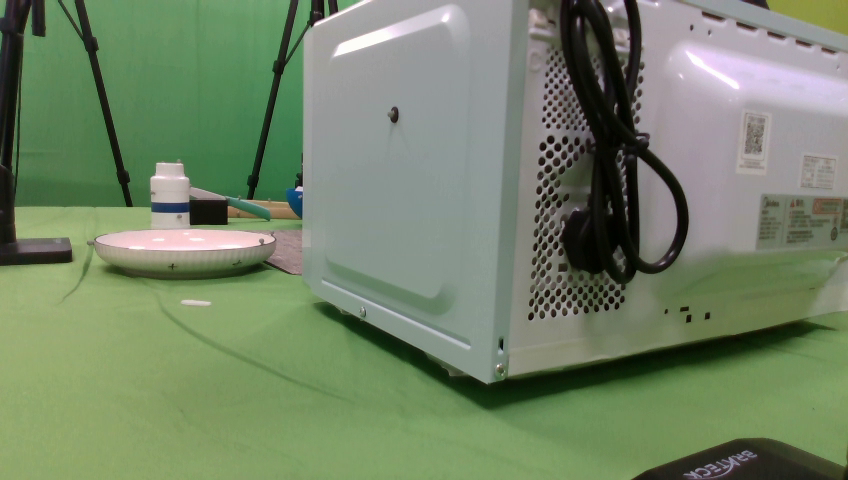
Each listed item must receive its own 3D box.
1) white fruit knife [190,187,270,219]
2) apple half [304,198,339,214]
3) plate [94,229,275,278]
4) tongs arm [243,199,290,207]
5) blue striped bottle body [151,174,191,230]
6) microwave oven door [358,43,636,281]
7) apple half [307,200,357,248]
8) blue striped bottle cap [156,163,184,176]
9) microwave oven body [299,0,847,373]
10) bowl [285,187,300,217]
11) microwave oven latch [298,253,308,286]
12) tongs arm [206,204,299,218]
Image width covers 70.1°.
[{"bbox_3d":[-0.413,-0.081,1.270,0.208,0.027,0.016,17,13,-41],"label":"white fruit knife"},{"bbox_3d":[-0.217,-0.073,1.274,0.081,0.033,0.081,1,9,0],"label":"apple half"},{"bbox_3d":[-0.291,0.016,0.749,0.208,0.039,0.207,2,7,0],"label":"plate"},{"bbox_3d":[-0.309,-0.078,1.487,0.385,0.026,0.050,3,7,-2],"label":"tongs arm"},{"bbox_3d":[-0.439,-0.071,1.052,0.063,0.120,0.063,2,8,0],"label":"blue striped bottle body"},{"bbox_3d":[0.100,-0.082,0.702,0.358,0.243,0.039,-1,8,-27],"label":"microwave oven door"},{"bbox_3d":[-0.136,-0.024,0.942,0.053,0.074,0.081,15,10,38],"label":"apple half"},{"bbox_3d":[-0.438,-0.121,1.045,0.044,0.020,0.044,4,6,0],"label":"blue striped bottle cap"},{"bbox_3d":[0.152,-0.055,0.542,0.444,0.260,0.324,-2,7,-33],"label":"microwave oven body"},{"bbox_3d":[-0.217,-0.069,1.274,0.151,0.077,0.151,2,8,0],"label":"bowl"},{"bbox_3d":[-0.081,0.028,0.582,0.079,0.029,0.030,-1,7,-32],"label":"microwave oven latch"},{"bbox_3d":[-0.302,-0.065,1.407,0.389,0.028,0.028,1,4,-15],"label":"tongs arm"}]
